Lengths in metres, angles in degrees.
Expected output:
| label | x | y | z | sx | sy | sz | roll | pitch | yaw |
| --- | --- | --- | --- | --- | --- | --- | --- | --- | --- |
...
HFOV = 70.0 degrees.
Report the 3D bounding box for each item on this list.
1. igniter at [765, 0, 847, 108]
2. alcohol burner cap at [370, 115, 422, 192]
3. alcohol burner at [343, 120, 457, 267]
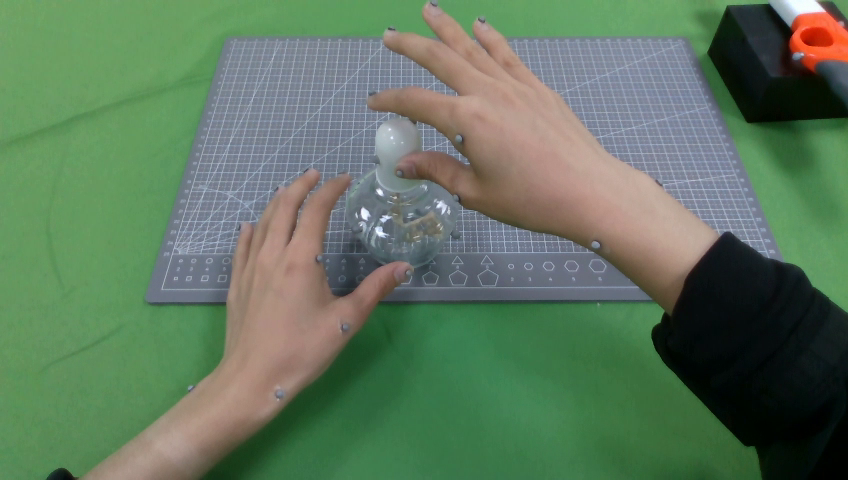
| label | x | y | z | sx | sy | sz | roll | pitch | yaw |
| --- | --- | --- | --- | --- | --- | --- | --- | --- | --- |
| igniter | 0.324 | -0.179 | 0.508 | 0.057 | 0.025 | 0.273 | -6 | 52 | -2 |
| alcohol burner cap | -0.018 | -0.056 | 0.371 | 0.034 | 0.048 | 0.033 | 1 | 57 | -1 |
| alcohol burner | -0.016 | -0.035 | 0.400 | 0.078 | 0.120 | 0.077 | 0 | 55 | 1 |
